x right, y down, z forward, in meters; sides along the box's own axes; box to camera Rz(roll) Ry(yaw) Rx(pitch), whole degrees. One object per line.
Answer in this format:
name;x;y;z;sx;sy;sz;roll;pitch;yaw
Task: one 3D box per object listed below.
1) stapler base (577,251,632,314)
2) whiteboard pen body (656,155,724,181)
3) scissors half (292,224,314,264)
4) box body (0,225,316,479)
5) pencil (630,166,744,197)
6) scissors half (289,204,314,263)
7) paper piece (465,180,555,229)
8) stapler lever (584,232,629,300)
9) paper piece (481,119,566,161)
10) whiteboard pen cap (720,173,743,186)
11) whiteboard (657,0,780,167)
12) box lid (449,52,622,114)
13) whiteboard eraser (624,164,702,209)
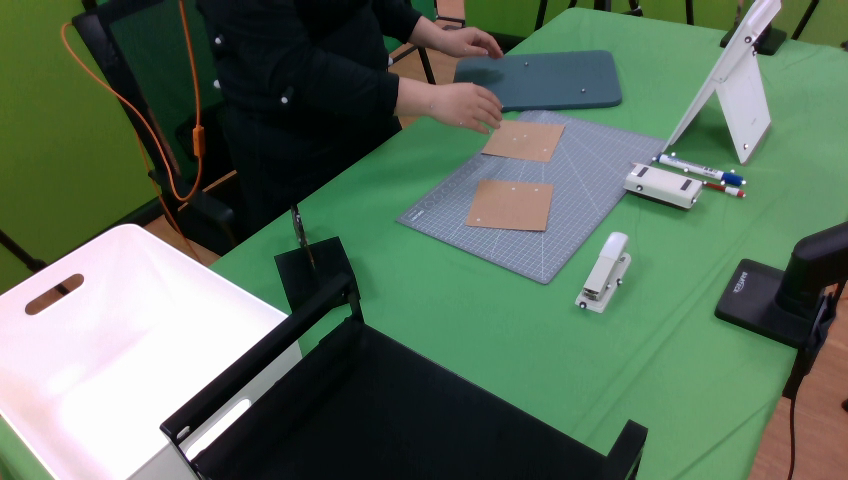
stapler base;0.264;0.051;0.875;0.041;0.024;0.131;16;47;30
whiteboard pen body;0.475;-0.123;1.052;0.139;0.017;0.017;24;49;32
scissors half;-0.188;0.007;0.954;0.013;0.040;0.174;-19;21;-13
box body;-0.339;0.162;0.728;0.361;0.161;0.255;23;48;31
pencil;0.447;-0.103;1.038;0.192;0.012;0.012;21;48;30
scissors half;-0.191;-0.010;0.945;0.013;0.040;0.173;-15;37;-16
paper piece;0.149;-0.062;1.034;0.137;0.009;0.136;5;37;17
stapler lever;0.260;0.034;0.858;0.026;0.040;0.118;16;46;30
paper piece;0.197;-0.199;1.188;0.135;0.004;0.135;11;43;21
whiteboard pen cap;0.519;-0.103;1.020;0.033;0.018;0.018;23;49;30
whiteboard;0.571;-0.272;1.038;0.143;0.306;0.218;36;54;17
box lid;0.249;-0.358;1.371;0.371;0.015;0.262;0;40;9
whiteboard eraser;0.396;-0.087;1.003;0.112;0.042;0.056;22;47;31
